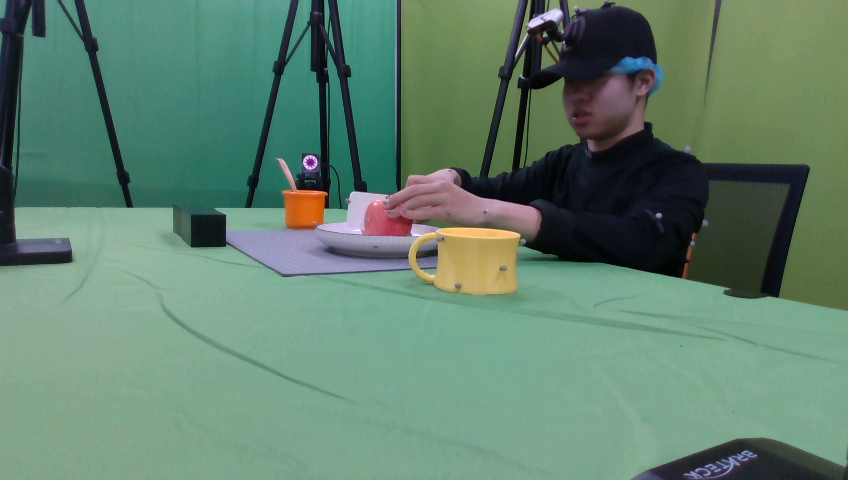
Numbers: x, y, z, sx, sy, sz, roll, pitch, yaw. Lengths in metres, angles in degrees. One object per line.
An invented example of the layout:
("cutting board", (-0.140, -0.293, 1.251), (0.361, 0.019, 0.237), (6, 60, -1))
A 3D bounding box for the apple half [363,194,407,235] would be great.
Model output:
("apple half", (-0.055, -0.029, 0.934), (0.053, 0.074, 0.081), (19, 13, 18))

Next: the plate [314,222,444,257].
("plate", (-0.066, -0.002, 0.948), (0.209, 0.038, 0.209), (3, 7, 0))

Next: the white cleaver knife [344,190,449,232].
("white cleaver knife", (-0.040, -0.046, 0.992), (0.021, 0.066, 0.288), (8, 6, 33))

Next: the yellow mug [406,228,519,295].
("yellow mug", (0.044, 0.022, 0.707), (0.131, 0.064, 0.100), (2, 7, 5))

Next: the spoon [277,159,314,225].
("spoon", (-0.272, -0.103, 1.260), (0.042, 0.193, 0.021), (-5, -34, -33))

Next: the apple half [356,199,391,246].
("apple half", (-0.086, -0.028, 0.947), (0.032, 0.081, 0.081), (4, 7, 31))
